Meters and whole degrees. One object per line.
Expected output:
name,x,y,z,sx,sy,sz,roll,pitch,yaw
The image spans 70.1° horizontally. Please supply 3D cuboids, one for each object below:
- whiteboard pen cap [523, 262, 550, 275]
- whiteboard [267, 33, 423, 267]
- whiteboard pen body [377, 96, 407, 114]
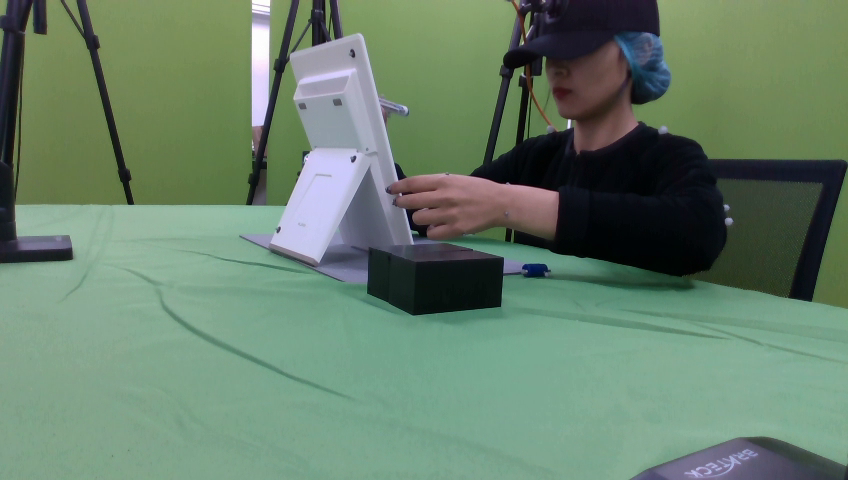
whiteboard pen cap,0.145,0.037,0.775,0.033,0.018,0.018,2,6,-29
whiteboard,-0.153,-0.098,0.818,0.144,0.305,0.216,-25,21,-29
whiteboard pen body,-0.074,-0.212,0.920,0.017,0.017,0.141,7,2,38
